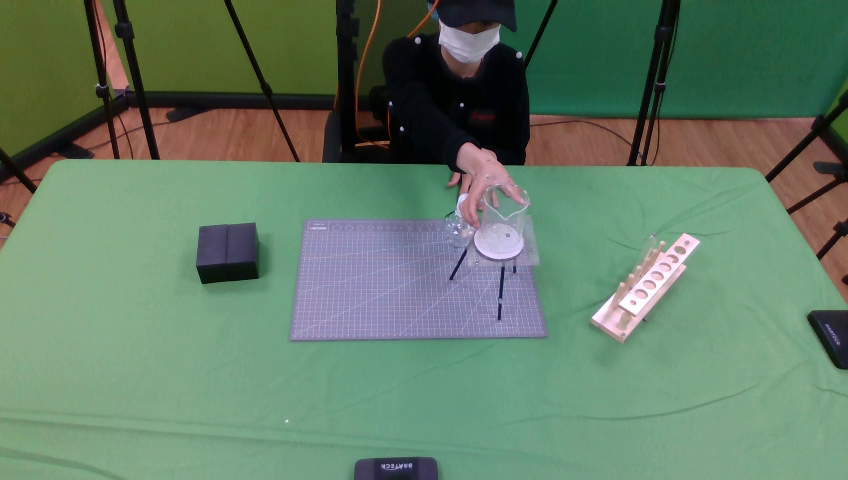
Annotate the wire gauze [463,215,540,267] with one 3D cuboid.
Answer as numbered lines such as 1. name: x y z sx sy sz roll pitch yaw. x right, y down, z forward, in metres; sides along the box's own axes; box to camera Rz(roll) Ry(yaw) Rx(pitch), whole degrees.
1. wire gauze: 0.131 -0.001 1.035 0.121 0.011 0.124 1 44 -3

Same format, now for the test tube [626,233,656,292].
1. test tube: 0.384 0.042 1.079 0.017 0.151 0.017 1 47 -1

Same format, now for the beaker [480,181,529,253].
1. beaker: 0.130 -0.033 0.998 0.074 0.101 0.083 5 47 4

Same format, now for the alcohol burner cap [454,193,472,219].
1. alcohol burner cap: 0.076 -0.068 1.151 0.034 0.048 0.033 3 46 -3

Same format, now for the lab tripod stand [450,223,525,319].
1. lab tripod stand: 0.120 0.046 1.080 0.148 0.132 0.147 1 47 -1

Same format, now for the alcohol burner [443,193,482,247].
1. alcohol burner: 0.075 -0.044 1.177 0.078 0.120 0.077 1 45 -1

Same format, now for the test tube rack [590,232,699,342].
1. test tube rack: 0.407 0.074 1.112 0.066 0.085 0.242 35 53 26
